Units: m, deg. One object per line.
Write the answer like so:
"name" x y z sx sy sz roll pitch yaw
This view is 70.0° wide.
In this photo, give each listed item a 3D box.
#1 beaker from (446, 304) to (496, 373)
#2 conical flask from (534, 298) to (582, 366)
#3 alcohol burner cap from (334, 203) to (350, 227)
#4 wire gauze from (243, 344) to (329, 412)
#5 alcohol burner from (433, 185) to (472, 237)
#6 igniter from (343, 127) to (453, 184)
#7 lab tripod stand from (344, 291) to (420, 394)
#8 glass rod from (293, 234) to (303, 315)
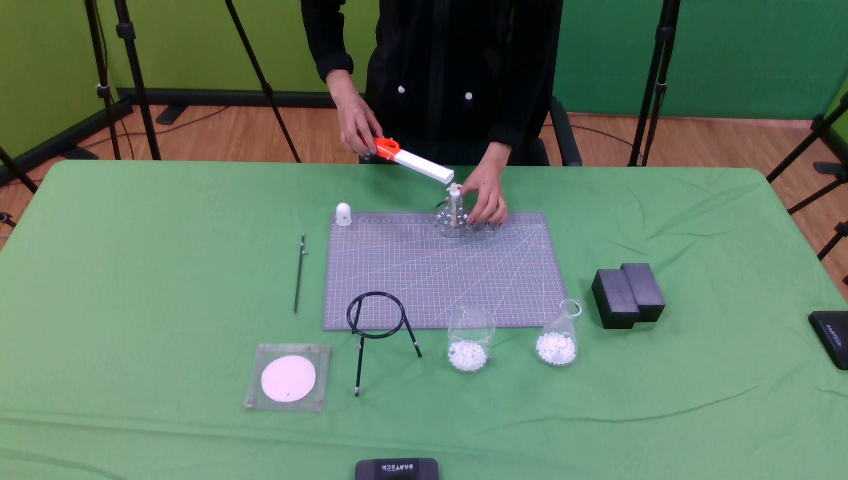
"beaker" 0.072 0.166 0.992 0.084 0.101 0.073 -21 51 -22
"conical flask" 0.229 0.149 1.005 0.075 0.122 0.075 2 46 -2
"alcohol burner cap" -0.166 -0.053 1.220 0.034 0.048 0.033 2 46 -2
"wire gauze" -0.221 0.219 0.981 0.125 0.011 0.120 2 45 0
"alcohol burner" 0.057 -0.063 1.198 0.078 0.120 0.077 1 48 -1
"igniter" -0.061 -0.176 1.229 0.275 0.025 0.057 27 52 27
"lab tripod stand" -0.075 0.155 0.967 0.148 0.132 0.147 3 44 -3
"glass rod" -0.235 0.060 1.133 0.008 0.008 0.198 -1 46 -5
